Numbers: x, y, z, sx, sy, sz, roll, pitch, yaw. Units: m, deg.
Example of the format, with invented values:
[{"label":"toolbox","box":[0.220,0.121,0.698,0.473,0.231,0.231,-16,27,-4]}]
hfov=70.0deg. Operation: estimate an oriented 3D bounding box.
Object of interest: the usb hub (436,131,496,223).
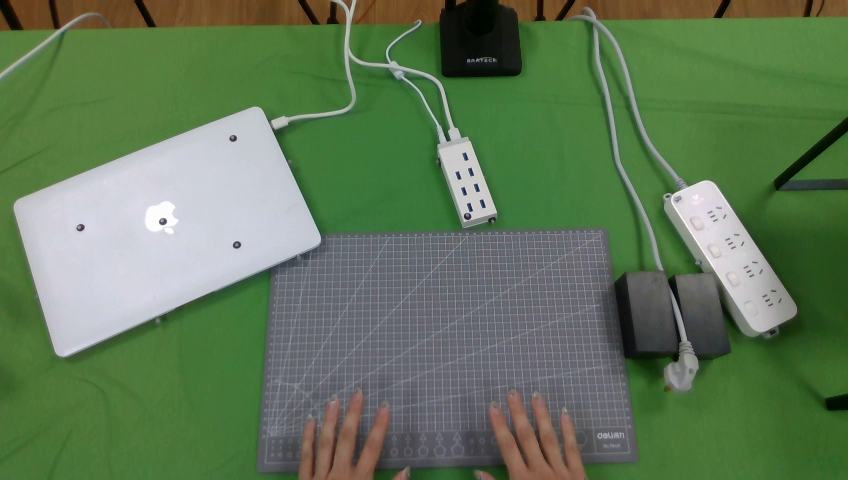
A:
[{"label":"usb hub","box":[0.056,-0.088,0.834,0.049,0.025,0.124,-16,71,-6]}]

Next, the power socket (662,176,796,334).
[{"label":"power socket","box":[0.397,0.015,0.796,0.072,0.033,0.225,-22,71,-9]}]

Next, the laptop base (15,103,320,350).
[{"label":"laptop base","box":[-0.342,-0.028,0.812,0.354,0.023,0.234,-24,75,-9]}]

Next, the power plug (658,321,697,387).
[{"label":"power plug","box":[0.304,0.141,0.727,0.035,0.053,0.072,28,52,-8]}]

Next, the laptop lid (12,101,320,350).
[{"label":"laptop lid","box":[-0.341,-0.030,0.800,0.357,0.013,0.240,-23,74,-8]}]
